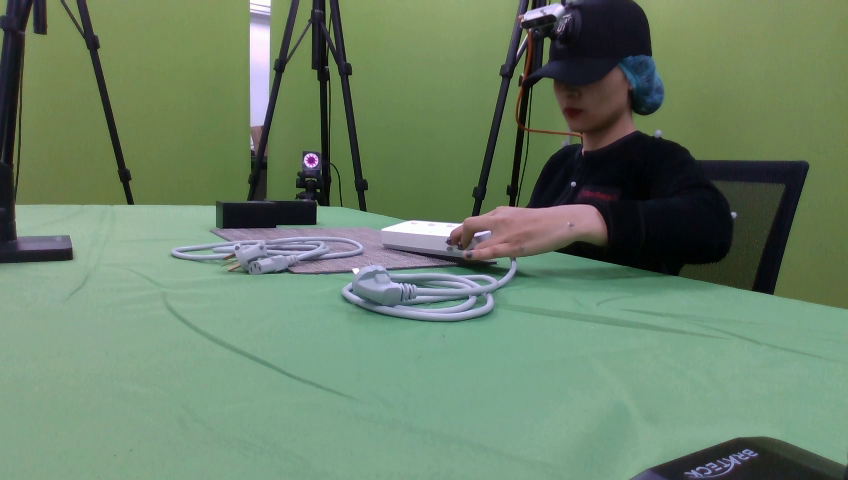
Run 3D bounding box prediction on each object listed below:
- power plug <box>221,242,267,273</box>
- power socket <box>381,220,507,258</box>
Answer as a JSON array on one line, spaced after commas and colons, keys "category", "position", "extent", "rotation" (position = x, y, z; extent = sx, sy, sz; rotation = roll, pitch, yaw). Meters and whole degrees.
[{"category": "power plug", "position": [-0.217, 0.024, 0.737], "extent": [0.053, 0.035, 0.072], "rotation": [-23, -5, -10]}, {"category": "power socket", "position": [0.022, -0.004, 0.897], "extent": [0.072, 0.032, 0.225], "rotation": [-19, 17, -38]}]
